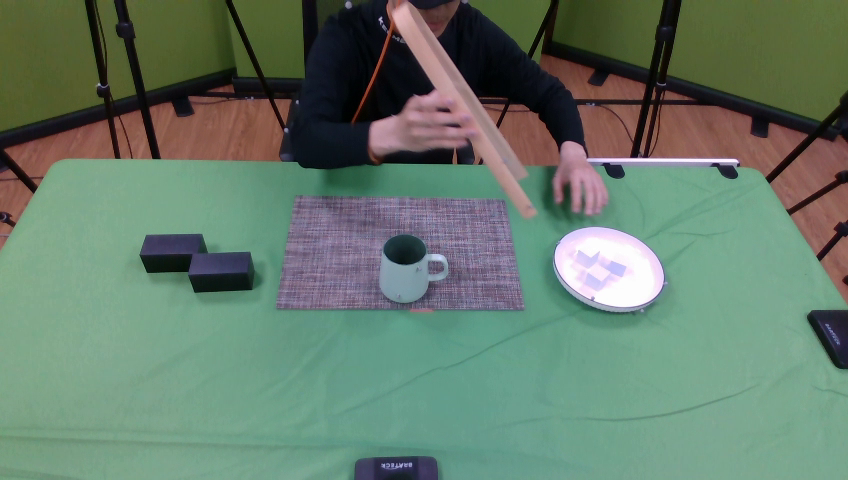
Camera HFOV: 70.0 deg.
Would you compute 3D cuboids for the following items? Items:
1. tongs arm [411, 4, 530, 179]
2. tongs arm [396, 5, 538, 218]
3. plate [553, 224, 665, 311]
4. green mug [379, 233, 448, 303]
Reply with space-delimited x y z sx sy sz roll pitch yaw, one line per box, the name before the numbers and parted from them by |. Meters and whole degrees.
tongs arm | 0.077 -0.225 0.983 0.028 0.390 0.028 -22 43 25
tongs arm | 0.076 -0.183 0.934 0.026 0.387 0.050 -25 34 23
plate | 0.349 0.055 1.159 0.209 0.038 0.208 2 47 -2
green mug | -0.018 0.050 1.084 0.125 0.105 0.092 -1 46 -4
